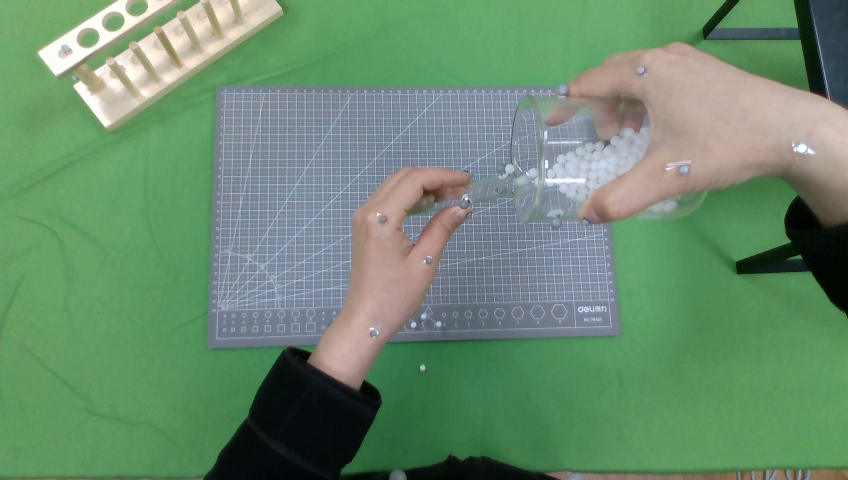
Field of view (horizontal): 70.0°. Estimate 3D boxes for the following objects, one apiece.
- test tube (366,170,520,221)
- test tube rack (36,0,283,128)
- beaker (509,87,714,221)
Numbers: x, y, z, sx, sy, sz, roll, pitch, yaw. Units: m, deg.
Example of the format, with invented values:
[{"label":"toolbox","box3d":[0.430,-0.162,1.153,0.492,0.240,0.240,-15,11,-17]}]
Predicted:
[{"label":"test tube","box3d":[0.007,-0.030,0.440,0.017,0.149,0.017,7,79,-43]},{"label":"test tube rack","box3d":[-0.280,-0.233,0.667,0.242,0.085,0.066,-38,83,-10]},{"label":"beaker","box3d":[0.105,-0.047,0.354,0.100,0.084,0.073,-1,75,-4]}]
